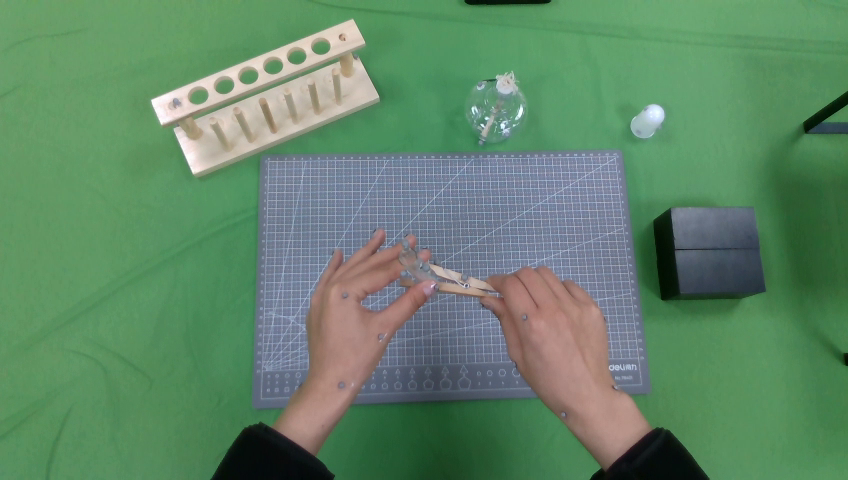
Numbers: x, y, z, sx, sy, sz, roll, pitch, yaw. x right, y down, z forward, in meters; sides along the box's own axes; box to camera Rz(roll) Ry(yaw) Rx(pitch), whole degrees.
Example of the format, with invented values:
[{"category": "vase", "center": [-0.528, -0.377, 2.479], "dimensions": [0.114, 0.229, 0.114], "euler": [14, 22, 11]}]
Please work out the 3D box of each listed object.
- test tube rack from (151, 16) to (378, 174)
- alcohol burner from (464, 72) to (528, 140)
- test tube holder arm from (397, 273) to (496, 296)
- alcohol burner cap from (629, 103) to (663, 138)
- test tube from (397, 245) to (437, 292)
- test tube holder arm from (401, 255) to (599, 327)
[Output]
[{"category": "test tube rack", "center": [-0.178, -0.168, 0.713], "dimensions": [0.242, 0.085, 0.066], "euler": [-25, 78, -9]}, {"category": "alcohol burner", "center": [0.087, -0.166, 0.714], "dimensions": [0.078, 0.119, 0.077], "euler": [1, 77, -4]}, {"category": "test tube holder arm", "center": [0.020, 0.039, 0.533], "dimensions": [0.088, 0.015, 0.010], "euler": [6, 82, 5]}, {"category": "alcohol burner cap", "center": [0.280, -0.152, 0.758], "dimensions": [0.034, 0.048, 0.033], "euler": [0, 76, -2]}, {"category": "test tube", "center": [-0.002, 0.028, 0.529], "dimensions": [0.017, 0.151, 0.017], "euler": [-2, 76, 8]}, {"category": "test tube holder arm", "center": [0.065, 0.044, 0.529], "dimensions": [0.178, 0.015, 0.013], "euler": [16, 84, 6]}]
